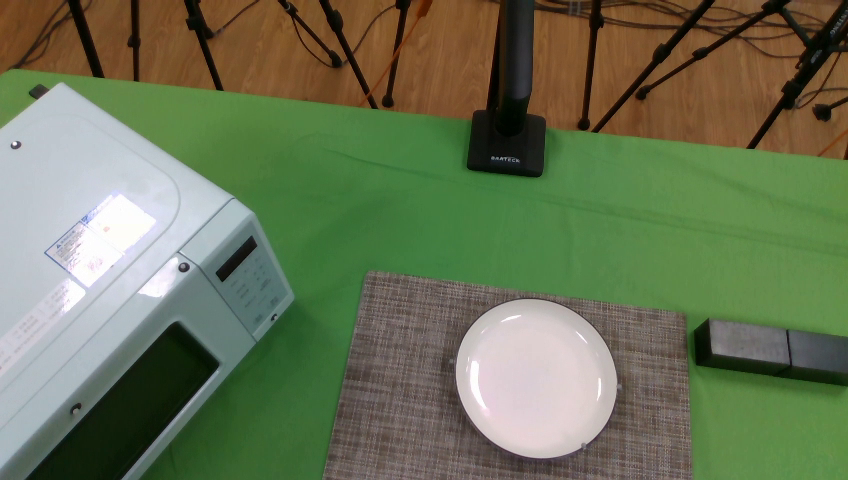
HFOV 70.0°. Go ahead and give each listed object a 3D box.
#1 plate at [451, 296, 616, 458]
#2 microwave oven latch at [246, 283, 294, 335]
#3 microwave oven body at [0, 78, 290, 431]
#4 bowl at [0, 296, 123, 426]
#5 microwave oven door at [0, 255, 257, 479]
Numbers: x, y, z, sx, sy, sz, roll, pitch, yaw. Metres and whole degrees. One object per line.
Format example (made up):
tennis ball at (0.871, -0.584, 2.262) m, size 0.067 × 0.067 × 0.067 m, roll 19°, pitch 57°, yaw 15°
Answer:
plate at (0.138, 0.175, 0.782) m, size 0.208 × 0.039 × 0.206 m, roll 1°, pitch 63°, yaw -1°
microwave oven latch at (-0.207, 0.086, 0.806) m, size 0.030 × 0.030 × 0.079 m, roll 34°, pitch 68°, yaw 15°
microwave oven body at (-0.430, 0.095, 0.690) m, size 0.324 × 0.262 × 0.440 m, roll 32°, pitch 68°, yaw 14°
bowl at (-0.416, 0.149, 0.704) m, size 0.151 × 0.077 × 0.150 m, roll -1°, pitch 59°, yaw 1°
microwave oven door at (-0.334, 0.198, 0.634) m, size 0.039 × 0.245 × 0.355 m, roll 32°, pitch 67°, yaw 16°
